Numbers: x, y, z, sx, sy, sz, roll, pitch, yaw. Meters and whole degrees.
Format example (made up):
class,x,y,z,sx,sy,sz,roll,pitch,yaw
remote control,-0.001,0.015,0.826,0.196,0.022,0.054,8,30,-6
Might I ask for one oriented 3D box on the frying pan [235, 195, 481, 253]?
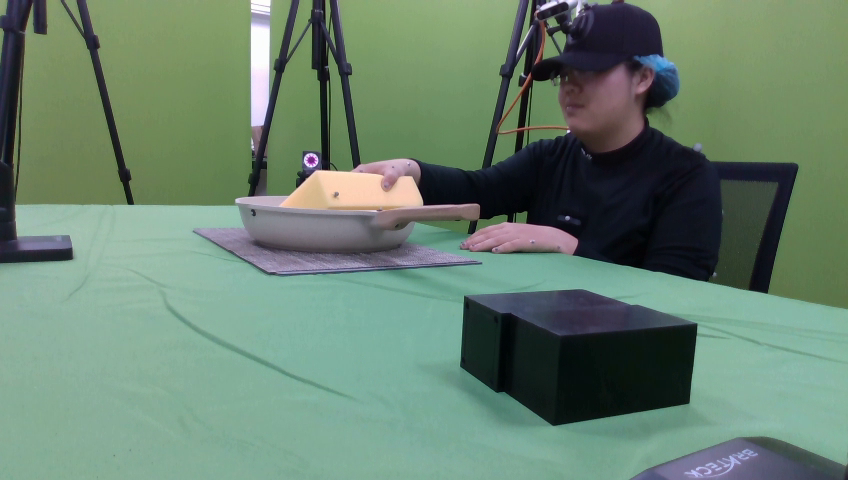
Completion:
class,x,y,z,sx,sy,sz,roll,pitch,yaw
frying pan,-0.089,-0.034,0.891,0.308,0.102,0.485,-4,2,-36

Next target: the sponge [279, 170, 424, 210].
class,x,y,z,sx,sy,sz,roll,pitch,yaw
sponge,-0.113,-0.050,0.952,0.118,0.060,0.208,-34,-19,35
